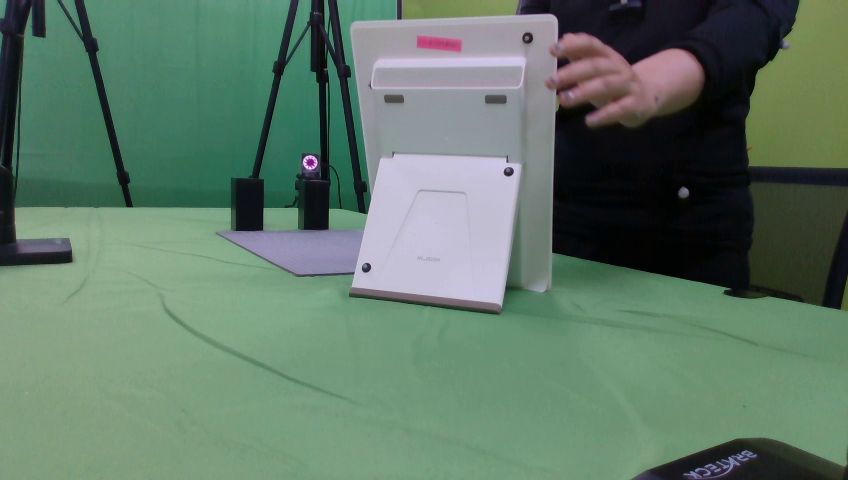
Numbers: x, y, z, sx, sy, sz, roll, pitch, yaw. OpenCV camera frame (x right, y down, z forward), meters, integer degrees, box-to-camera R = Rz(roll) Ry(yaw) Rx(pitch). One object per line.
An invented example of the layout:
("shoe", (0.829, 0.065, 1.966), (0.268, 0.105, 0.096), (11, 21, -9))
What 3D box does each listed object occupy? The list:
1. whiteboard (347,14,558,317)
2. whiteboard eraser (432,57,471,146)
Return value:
("whiteboard", (0.012, -0.056, 0.608), (0.216, 0.305, 0.144), (5, 27, 20))
("whiteboard eraser", (0.031, -0.156, 0.689), (0.041, 0.101, 0.019), (12, 35, 16))
